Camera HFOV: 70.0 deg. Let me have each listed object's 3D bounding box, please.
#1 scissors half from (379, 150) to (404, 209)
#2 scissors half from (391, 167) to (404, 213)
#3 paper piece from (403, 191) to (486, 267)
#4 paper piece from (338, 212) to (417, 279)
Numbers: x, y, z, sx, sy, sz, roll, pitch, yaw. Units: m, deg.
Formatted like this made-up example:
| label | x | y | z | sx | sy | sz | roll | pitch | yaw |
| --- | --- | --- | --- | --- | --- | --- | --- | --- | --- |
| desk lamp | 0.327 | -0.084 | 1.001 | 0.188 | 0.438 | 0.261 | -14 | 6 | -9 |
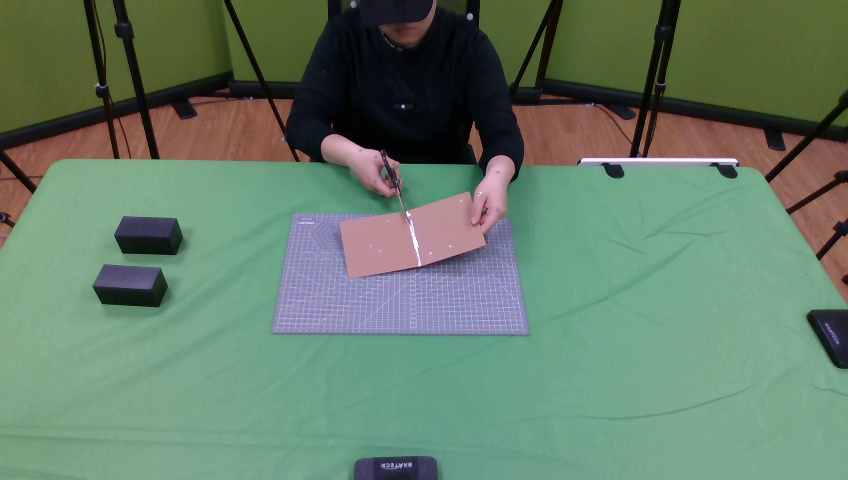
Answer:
| label | x | y | z | sx | sy | sz | roll | pitch | yaw |
| --- | --- | --- | --- | --- | --- | --- | --- | --- | --- |
| scissors half | -0.059 | -0.107 | 1.231 | 0.013 | 0.040 | 0.174 | -22 | 77 | 4 |
| scissors half | -0.055 | -0.098 | 1.251 | 0.013 | 0.040 | 0.174 | -20 | 51 | 0 |
| paper piece | 0.038 | -0.024 | 1.170 | 0.138 | 0.009 | 0.135 | -16 | 60 | 4 |
| paper piece | -0.091 | 0.007 | 1.168 | 0.135 | 0.004 | 0.135 | -9 | 57 | -8 |
